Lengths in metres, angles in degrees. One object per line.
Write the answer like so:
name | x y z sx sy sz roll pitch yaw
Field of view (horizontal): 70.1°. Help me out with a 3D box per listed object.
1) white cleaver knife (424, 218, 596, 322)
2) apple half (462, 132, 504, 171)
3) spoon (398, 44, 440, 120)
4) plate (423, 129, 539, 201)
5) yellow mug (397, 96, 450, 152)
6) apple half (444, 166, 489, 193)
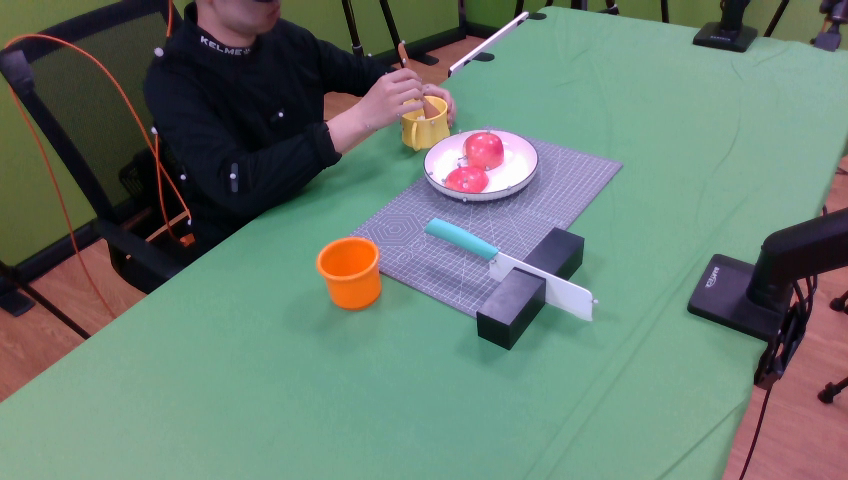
white cleaver knife | 0.114 0.042 0.865 0.284 0.066 0.021 27 47 28
apple half | 0.109 -0.170 1.110 0.075 0.053 0.080 -6 40 -2
spoon | -0.010 -0.281 1.139 0.042 0.195 0.021 -44 39 -18
plate | 0.103 -0.132 1.092 0.209 0.038 0.208 -4 40 4
yellow mug | -0.004 -0.226 1.200 0.099 0.064 0.130 5 43 16
apple half | 0.074 -0.112 1.063 0.081 0.033 0.081 -6 39 5
